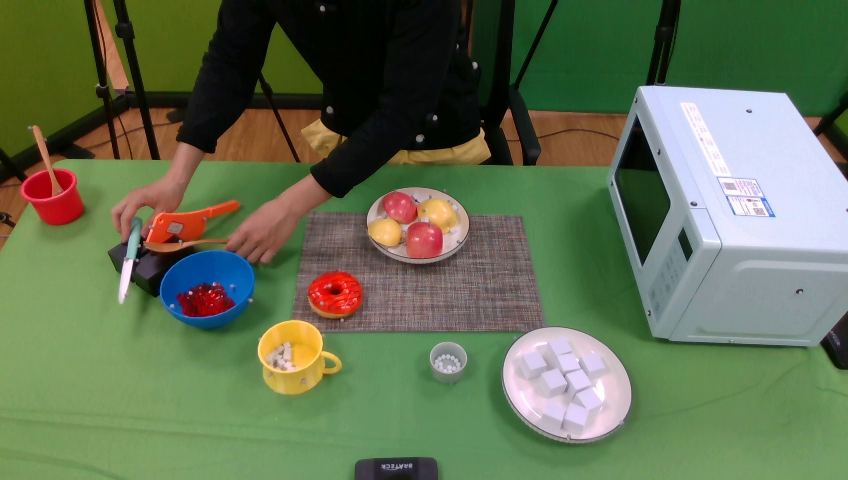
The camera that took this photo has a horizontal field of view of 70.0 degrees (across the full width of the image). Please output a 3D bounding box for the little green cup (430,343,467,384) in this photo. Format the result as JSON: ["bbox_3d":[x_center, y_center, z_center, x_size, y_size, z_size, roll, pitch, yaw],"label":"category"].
[{"bbox_3d":[0.039,0.203,0.993,0.061,0.039,0.061,2,46,-2],"label":"little green cup"}]

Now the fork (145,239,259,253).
[{"bbox_3d":[-0.403,0.008,1.117,0.208,0.019,0.028,-5,38,-37],"label":"fork"}]

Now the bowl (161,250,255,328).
[{"bbox_3d":[-0.362,0.097,1.040,0.151,0.077,0.150,2,45,-2],"label":"bowl"}]

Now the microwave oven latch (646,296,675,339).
[{"bbox_3d":[0.412,0.134,1.061,0.030,0.029,0.078,4,45,1],"label":"microwave oven latch"}]

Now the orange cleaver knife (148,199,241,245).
[{"bbox_3d":[-0.434,-0.034,1.157,0.012,0.077,0.211,31,27,19],"label":"orange cleaver knife"}]

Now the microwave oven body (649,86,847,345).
[{"bbox_3d":[0.568,-0.053,1.118,0.326,0.261,0.439,2,45,-1],"label":"microwave oven body"}]

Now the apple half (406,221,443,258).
[{"bbox_3d":[0.001,-0.006,1.163,0.075,0.053,0.080,5,42,0],"label":"apple half"}]

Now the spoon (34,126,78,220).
[{"bbox_3d":[-0.726,-0.132,1.188,0.041,0.021,0.194,-18,95,-20],"label":"spoon"}]

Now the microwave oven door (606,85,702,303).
[{"bbox_3d":[0.422,-0.094,1.140,0.039,0.245,0.353,2,46,-1],"label":"microwave oven door"}]

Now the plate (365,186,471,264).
[{"bbox_3d":[-0.013,-0.027,1.207,0.209,0.038,0.208,2,46,-2],"label":"plate"}]

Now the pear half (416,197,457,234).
[{"bbox_3d":[0.017,-0.065,1.226,0.076,0.056,0.109,-27,50,-32],"label":"pear half"}]

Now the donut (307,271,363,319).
[{"bbox_3d":[-0.157,0.097,1.072,0.099,0.048,0.098,4,45,-4],"label":"donut"}]

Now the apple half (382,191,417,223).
[{"bbox_3d":[-0.043,-0.072,1.225,0.081,0.033,0.081,18,41,-17],"label":"apple half"}]

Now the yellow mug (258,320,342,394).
[{"bbox_3d":[-0.196,0.189,0.971,0.131,0.064,0.099,9,46,3],"label":"yellow mug"}]

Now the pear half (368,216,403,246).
[{"bbox_3d":[-0.070,-0.026,1.183,0.070,0.031,0.087,33,45,0],"label":"pear half"}]

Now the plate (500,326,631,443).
[{"bbox_3d":[0.224,0.234,0.978,0.208,0.039,0.206,2,46,-2],"label":"plate"}]

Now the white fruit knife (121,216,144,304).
[{"bbox_3d":[-0.514,0.032,1.067,0.027,0.016,0.206,-25,48,13],"label":"white fruit knife"}]
